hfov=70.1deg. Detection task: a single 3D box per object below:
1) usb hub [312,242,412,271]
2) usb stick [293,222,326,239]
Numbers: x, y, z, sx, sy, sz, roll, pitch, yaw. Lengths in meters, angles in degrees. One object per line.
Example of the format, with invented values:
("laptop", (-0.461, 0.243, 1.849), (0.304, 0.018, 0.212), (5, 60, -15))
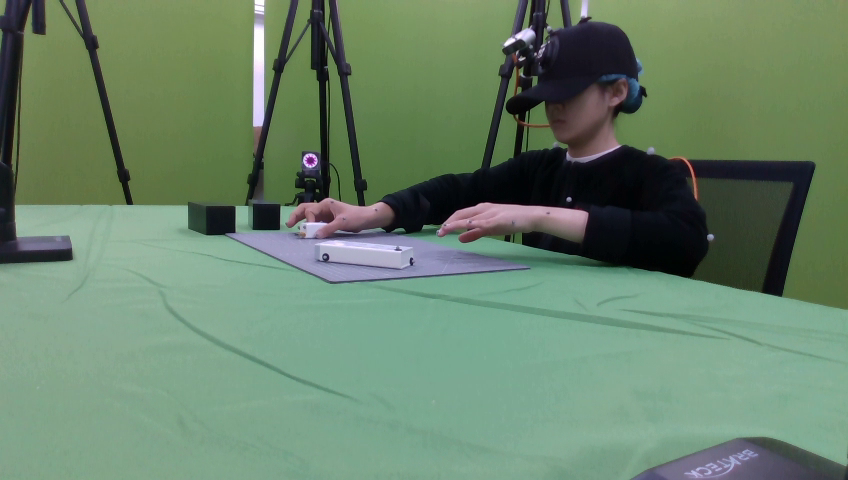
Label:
("usb hub", (-0.082, 0.020, 0.804), (0.125, 0.025, 0.049), (5, 8, 17))
("usb stick", (-0.197, -0.016, 1.036), (0.059, 0.027, 0.021), (-10, 14, -43))
